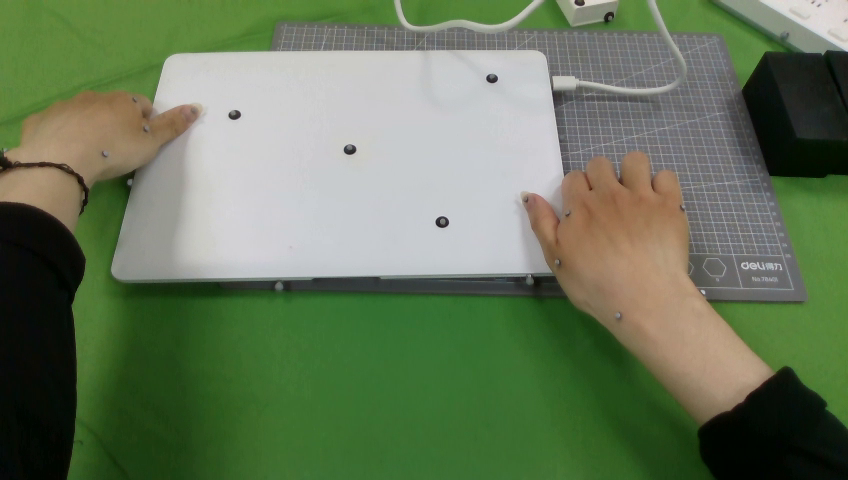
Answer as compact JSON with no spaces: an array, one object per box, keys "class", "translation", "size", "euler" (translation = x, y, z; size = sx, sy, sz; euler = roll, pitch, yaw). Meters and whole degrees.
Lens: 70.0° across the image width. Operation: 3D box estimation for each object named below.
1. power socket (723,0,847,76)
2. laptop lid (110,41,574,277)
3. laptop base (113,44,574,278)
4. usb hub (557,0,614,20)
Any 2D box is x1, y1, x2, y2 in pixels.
[{"class":"power socket","translation":[0.388,-0.226,0.603],"size":[0.072,0.033,0.225],"euler":[-36,66,-21]},{"class":"laptop lid","translation":[-0.063,-0.079,0.506],"size":[0.357,0.013,0.239],"euler":[0,62,0]},{"class":"laptop base","translation":[-0.063,-0.074,0.518],"size":[0.354,0.023,0.233],"euler":[-1,63,-1]},{"class":"usb hub","translation":[0.151,-0.285,0.638],"size":[0.049,0.025,0.124],"euler":[-14,61,-8]}]
